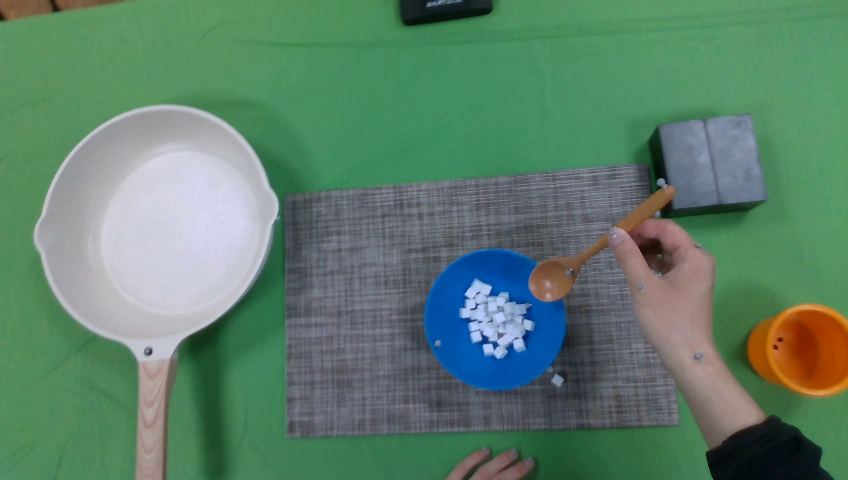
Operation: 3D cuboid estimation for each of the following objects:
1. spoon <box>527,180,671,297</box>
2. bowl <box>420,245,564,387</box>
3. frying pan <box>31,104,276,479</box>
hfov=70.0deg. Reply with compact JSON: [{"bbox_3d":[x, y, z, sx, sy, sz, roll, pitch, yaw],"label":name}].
[{"bbox_3d":[0.155,0.004,0.556,0.021,0.194,0.041,-33,80,-35],"label":"spoon"},{"bbox_3d":[0.077,0.085,0.675,0.151,0.077,0.151,-1,80,7],"label":"bowl"},{"bbox_3d":[-0.313,0.079,0.714,0.306,0.103,0.484,-6,71,7],"label":"frying pan"}]
